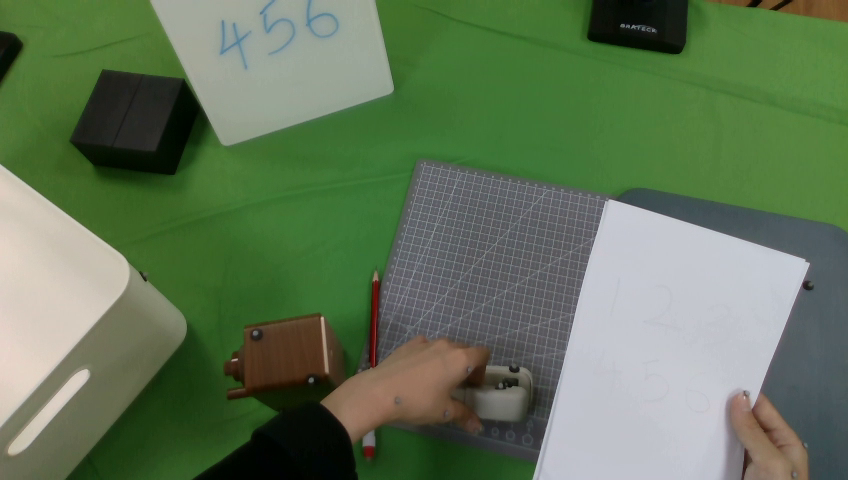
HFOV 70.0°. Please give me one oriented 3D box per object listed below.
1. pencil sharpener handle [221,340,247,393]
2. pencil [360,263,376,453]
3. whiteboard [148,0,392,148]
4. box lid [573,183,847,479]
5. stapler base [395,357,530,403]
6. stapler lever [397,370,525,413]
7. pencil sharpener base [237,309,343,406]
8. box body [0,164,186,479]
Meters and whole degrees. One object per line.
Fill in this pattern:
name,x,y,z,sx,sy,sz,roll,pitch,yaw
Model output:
pencil sharpener handle,-0.171,0.118,0.543,0.030,0.068,0.035,-9,49,-2
pencil,-0.054,0.113,0.609,0.012,0.012,0.192,0,66,1
whiteboard,-0.182,-0.293,0.661,0.217,0.308,0.142,-20,48,-7
box lid,0.297,0.120,0.600,0.263,0.015,0.369,12,68,5
stapler base,0.036,0.137,0.578,0.130,0.024,0.041,3,91,3
stapler lever,0.033,0.138,0.552,0.118,0.040,0.027,3,90,4
pencil sharpener base,-0.121,0.111,0.559,0.077,0.108,0.061,-9,67,-2
box body,-0.442,0.057,0.557,0.362,0.161,0.253,32,71,14
